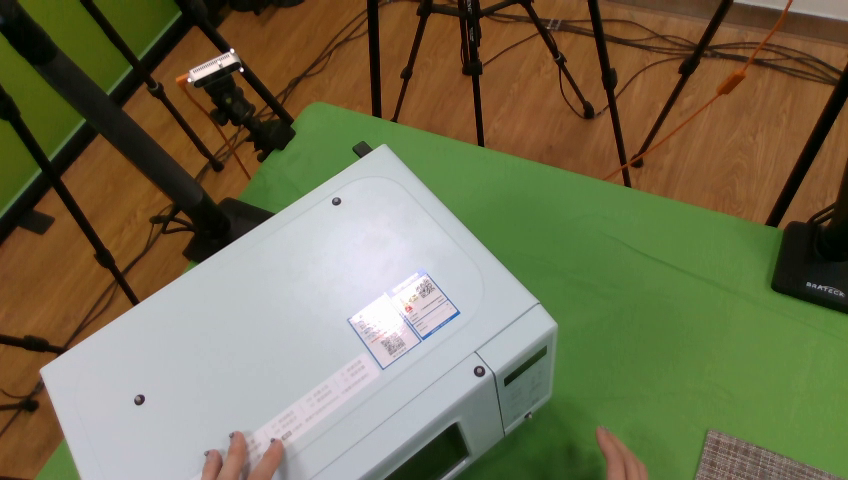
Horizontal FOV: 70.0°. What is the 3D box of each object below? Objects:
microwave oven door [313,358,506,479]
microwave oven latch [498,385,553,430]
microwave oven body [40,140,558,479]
[{"bbox_3d":[-0.070,0.270,0.617,0.356,0.246,0.039,-35,59,-12],"label":"microwave oven door"},{"bbox_3d":[0.122,0.198,0.747,0.079,0.030,0.030,-34,61,-10],"label":"microwave oven latch"},{"bbox_3d":[-0.121,0.155,0.700,0.441,0.262,0.323,-36,61,-11],"label":"microwave oven body"}]
